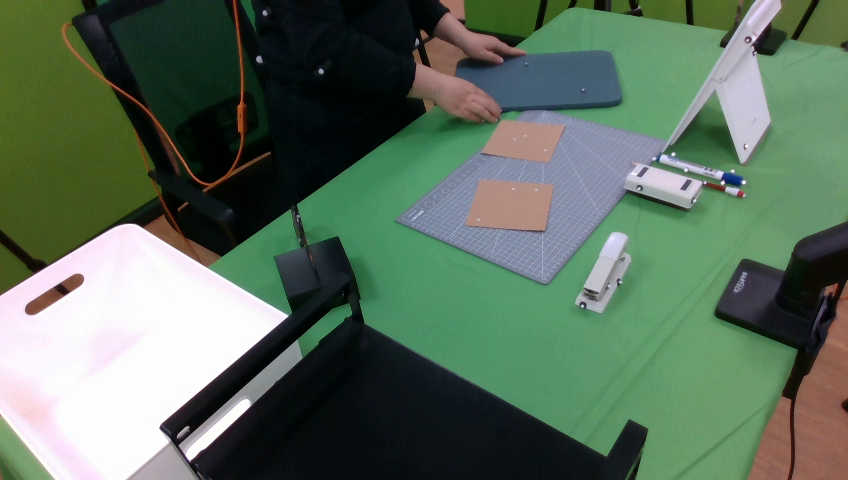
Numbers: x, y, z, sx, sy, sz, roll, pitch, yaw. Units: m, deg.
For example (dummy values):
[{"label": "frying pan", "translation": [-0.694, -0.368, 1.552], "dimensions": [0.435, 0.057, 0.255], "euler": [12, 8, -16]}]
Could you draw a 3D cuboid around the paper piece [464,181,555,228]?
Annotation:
[{"label": "paper piece", "translation": [0.149, -0.062, 1.034], "dimensions": [0.137, 0.009, 0.136], "euler": [4, 37, 17]}]

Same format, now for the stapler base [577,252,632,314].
[{"label": "stapler base", "translation": [0.264, 0.051, 0.875], "dimensions": [0.041, 0.024, 0.131], "euler": [16, 47, 30]}]

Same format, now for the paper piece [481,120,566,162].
[{"label": "paper piece", "translation": [0.197, -0.199, 1.188], "dimensions": [0.135, 0.004, 0.135], "euler": [11, 44, 21]}]

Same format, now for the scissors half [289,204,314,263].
[{"label": "scissors half", "translation": [-0.191, -0.010, 0.944], "dimensions": [0.013, 0.040, 0.173], "euler": [-15, 38, -16]}]

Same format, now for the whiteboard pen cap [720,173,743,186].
[{"label": "whiteboard pen cap", "translation": [0.519, -0.103, 1.020], "dimensions": [0.033, 0.018, 0.018], "euler": [23, 49, 30]}]

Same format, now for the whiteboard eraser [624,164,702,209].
[{"label": "whiteboard eraser", "translation": [0.396, -0.087, 1.003], "dimensions": [0.112, 0.042, 0.056], "euler": [22, 47, 31]}]

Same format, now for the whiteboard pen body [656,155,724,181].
[{"label": "whiteboard pen body", "translation": [0.475, -0.123, 1.052], "dimensions": [0.139, 0.017, 0.017], "euler": [24, 49, 32]}]

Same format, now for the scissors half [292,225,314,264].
[{"label": "scissors half", "translation": [-0.188, 0.007, 0.954], "dimensions": [0.013, 0.040, 0.174], "euler": [-20, 21, -13]}]

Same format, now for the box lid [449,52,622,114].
[{"label": "box lid", "translation": [0.249, -0.358, 1.371], "dimensions": [0.371, 0.015, 0.262], "euler": [-1, 40, 9]}]

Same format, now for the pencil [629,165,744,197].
[{"label": "pencil", "translation": [0.447, -0.103, 1.038], "dimensions": [0.192, 0.012, 0.012], "euler": [21, 48, 29]}]

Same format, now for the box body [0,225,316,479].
[{"label": "box body", "translation": [-0.339, 0.162, 0.728], "dimensions": [0.361, 0.161, 0.255], "euler": [23, 48, 31]}]

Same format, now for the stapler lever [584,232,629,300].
[{"label": "stapler lever", "translation": [0.261, 0.034, 0.858], "dimensions": [0.026, 0.040, 0.118], "euler": [16, 46, 30]}]

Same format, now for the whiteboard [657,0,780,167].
[{"label": "whiteboard", "translation": [0.571, -0.272, 1.038], "dimensions": [0.143, 0.306, 0.218], "euler": [37, 54, 17]}]
